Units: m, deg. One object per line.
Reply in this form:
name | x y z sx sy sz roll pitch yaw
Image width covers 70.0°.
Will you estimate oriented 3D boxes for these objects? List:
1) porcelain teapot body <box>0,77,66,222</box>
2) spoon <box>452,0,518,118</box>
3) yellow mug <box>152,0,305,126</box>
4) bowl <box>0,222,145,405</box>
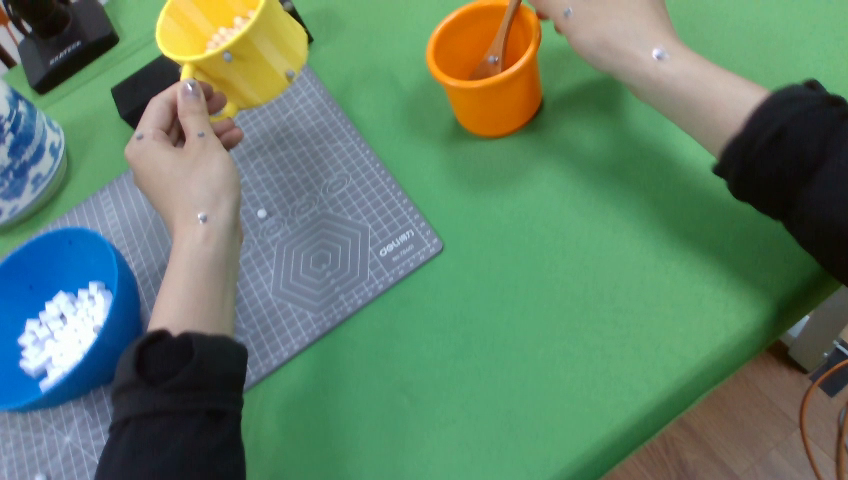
porcelain teapot body | -0.503 -0.105 0.579 0.205 0.227 0.143 -30 58 2
spoon | 0.070 -0.183 0.475 0.022 0.194 0.041 -7 46 -38
yellow mug | -0.160 -0.153 0.486 0.099 0.064 0.130 5 70 22
bowl | -0.288 0.068 0.497 0.151 0.077 0.150 -8 60 14
